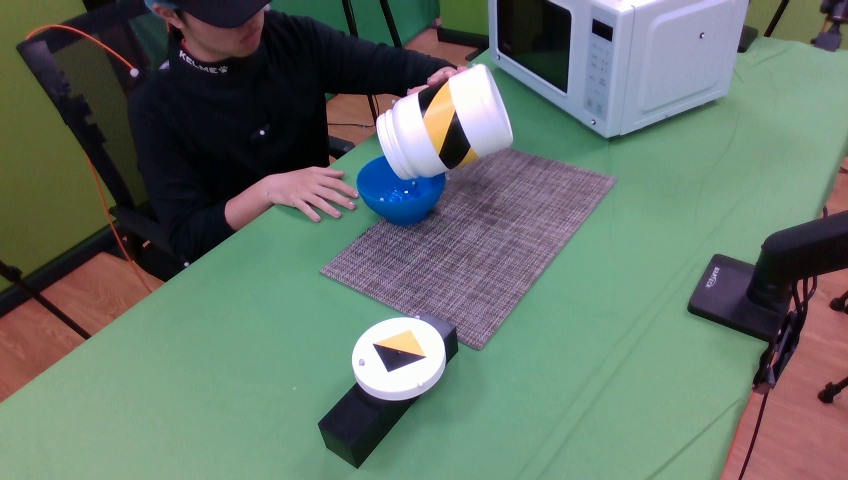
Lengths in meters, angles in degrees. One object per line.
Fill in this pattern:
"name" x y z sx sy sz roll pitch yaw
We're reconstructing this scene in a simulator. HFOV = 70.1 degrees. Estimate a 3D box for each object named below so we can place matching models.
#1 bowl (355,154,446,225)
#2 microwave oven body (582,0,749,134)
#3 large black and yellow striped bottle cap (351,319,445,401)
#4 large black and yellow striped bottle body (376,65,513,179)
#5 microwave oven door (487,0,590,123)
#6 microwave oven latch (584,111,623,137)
"bowl" -0.035 -0.078 1.017 0.151 0.077 0.150 -4 40 4
"microwave oven body" 0.382 -0.444 1.246 0.327 0.261 0.437 -22 42 -16
"large black and yellow striped bottle cap" -0.031 0.143 0.734 0.115 0.019 0.114 -3 40 3
"large black and yellow striped bottle body" 0.032 -0.174 0.927 0.183 0.131 0.130 -20 38 16
"microwave oven door" 0.232 -0.420 1.230 0.039 0.245 0.352 -22 43 -16
"microwave oven latch" 0.337 -0.222 1.142 0.030 0.029 0.078 -21 42 -14
